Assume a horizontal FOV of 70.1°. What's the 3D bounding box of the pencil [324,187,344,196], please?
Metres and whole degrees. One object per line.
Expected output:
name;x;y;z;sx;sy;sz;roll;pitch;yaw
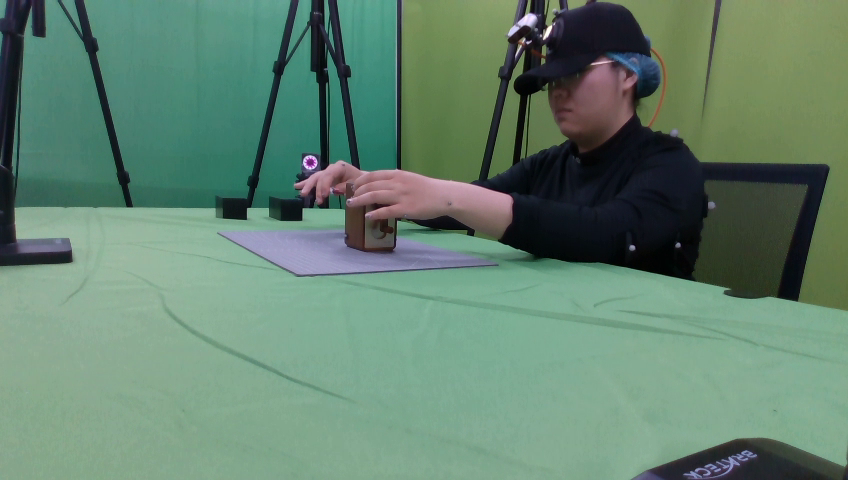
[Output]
pencil;-0.125;-0.076;1.021;0.012;0.012;0.193;-2;10;-34

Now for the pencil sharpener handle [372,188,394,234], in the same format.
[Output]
pencil sharpener handle;-0.056;-0.044;0.913;0.036;0.067;0.030;-5;10;-32

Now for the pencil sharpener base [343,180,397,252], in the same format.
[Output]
pencil sharpener base;-0.085;-0.038;0.956;0.062;0.107;0.076;-2;9;-33
